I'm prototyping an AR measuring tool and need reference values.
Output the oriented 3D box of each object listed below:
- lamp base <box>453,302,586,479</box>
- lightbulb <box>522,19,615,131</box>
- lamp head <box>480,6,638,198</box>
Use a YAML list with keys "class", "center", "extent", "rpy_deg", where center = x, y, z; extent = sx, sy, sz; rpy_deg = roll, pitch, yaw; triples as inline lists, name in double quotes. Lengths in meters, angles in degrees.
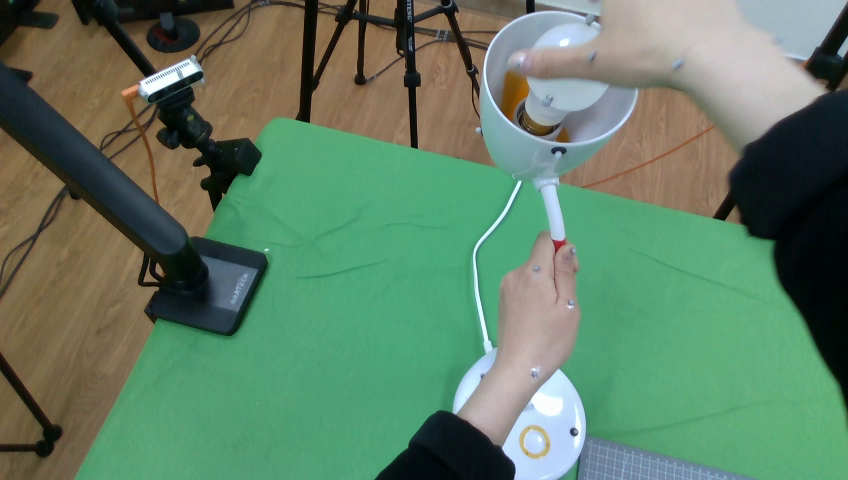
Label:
- class: "lamp base"
  center: [0.112, 0.156, 0.665]
  extent: [0.161, 0.181, 0.177]
  rpy_deg: [-23, 61, -16]
- class: "lightbulb"
  center: [0.099, -0.115, 0.450]
  extent: [0.060, 0.108, 0.059]
  rpy_deg: [4, 66, -10]
- class: "lamp head"
  center: [0.095, -0.097, 0.477]
  extent: [0.112, 0.123, 0.111]
  rpy_deg: [1, 66, -2]
